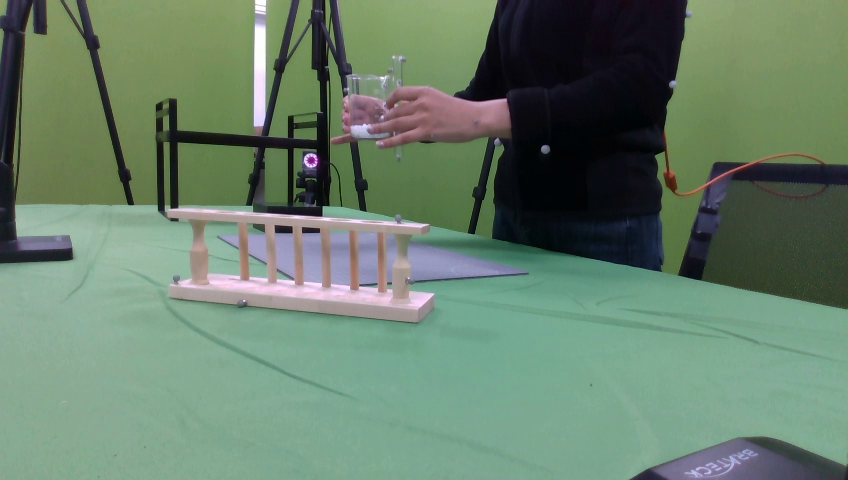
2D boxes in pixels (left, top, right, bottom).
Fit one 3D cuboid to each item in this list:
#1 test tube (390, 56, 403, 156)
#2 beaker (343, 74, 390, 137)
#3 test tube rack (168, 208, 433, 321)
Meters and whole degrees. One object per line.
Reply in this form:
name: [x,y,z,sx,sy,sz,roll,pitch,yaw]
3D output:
test tube: [-0.042,-0.201,0.918,0.017,0.150,0.017,-1,20,1]
beaker: [-0.091,-0.223,1.006,0.074,0.100,0.083,-11,16,-37]
test tube rack: [-0.116,0.017,0.574,0.242,0.085,0.067,4,8,13]
